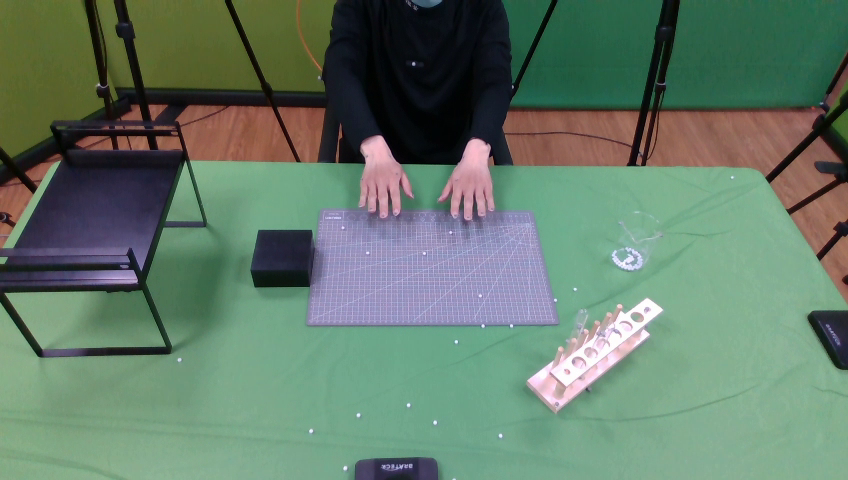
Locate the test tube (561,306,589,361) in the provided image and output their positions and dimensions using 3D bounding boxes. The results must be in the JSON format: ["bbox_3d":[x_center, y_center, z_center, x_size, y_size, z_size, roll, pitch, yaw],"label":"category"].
[{"bbox_3d":[0.239,0.153,0.964,0.017,0.151,0.017,1,48,-1],"label":"test tube"}]

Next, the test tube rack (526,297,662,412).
[{"bbox_3d":[0.284,0.176,1.007,0.242,0.085,0.066,-28,54,-27],"label":"test tube rack"}]

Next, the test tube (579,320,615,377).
[{"bbox_3d":[0.265,0.171,0.941,0.017,0.151,0.017,4,49,-4],"label":"test tube"}]

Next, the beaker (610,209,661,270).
[{"bbox_3d":[0.404,0.005,1.170,0.074,0.101,0.083,20,49,15],"label":"beaker"}]
